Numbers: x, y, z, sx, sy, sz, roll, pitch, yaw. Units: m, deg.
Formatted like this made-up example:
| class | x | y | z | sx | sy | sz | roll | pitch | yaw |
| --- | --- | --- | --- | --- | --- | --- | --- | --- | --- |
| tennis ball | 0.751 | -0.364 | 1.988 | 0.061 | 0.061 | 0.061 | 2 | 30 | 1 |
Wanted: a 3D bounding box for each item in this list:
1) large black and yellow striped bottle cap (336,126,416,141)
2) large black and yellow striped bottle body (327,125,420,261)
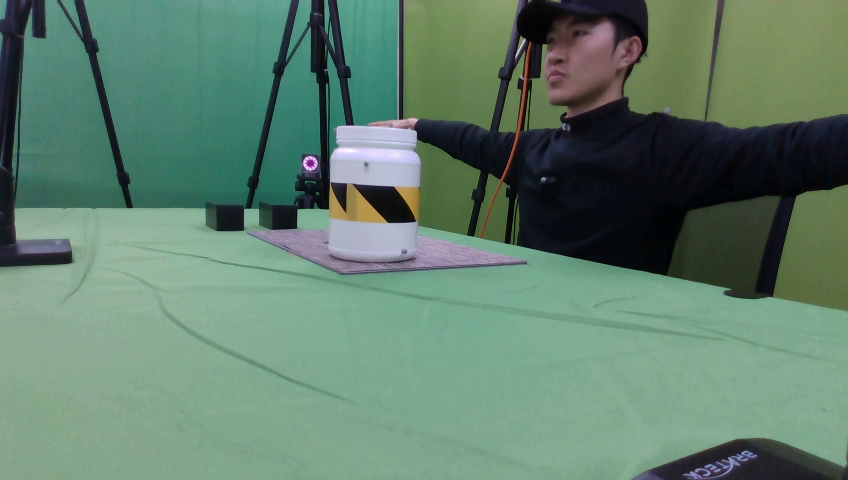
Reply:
| class | x | y | z | sx | sy | sz | roll | pitch | yaw |
| --- | --- | --- | --- | --- | --- | --- | --- | --- | --- |
| large black and yellow striped bottle cap | -0.068 | -0.150 | 0.860 | 0.115 | 0.019 | 0.115 | 1 | 6 | 0 |
| large black and yellow striped bottle body | -0.072 | -0.069 | 0.872 | 0.131 | 0.184 | 0.130 | 2 | 7 | 0 |
